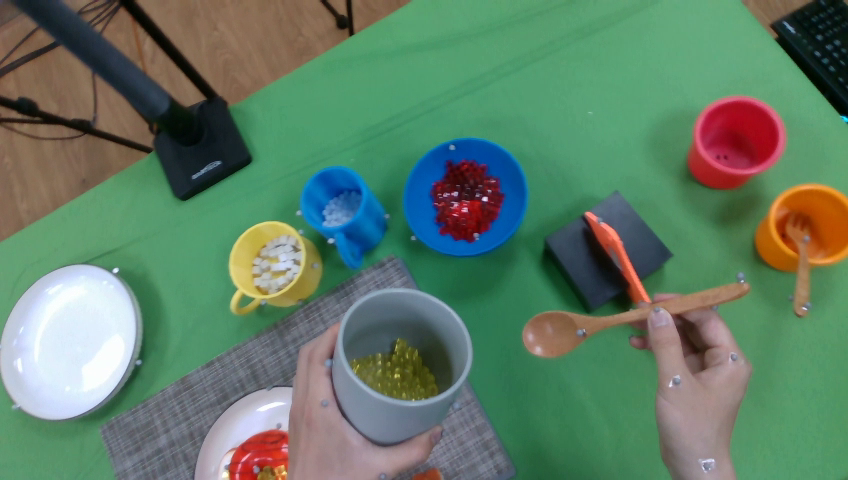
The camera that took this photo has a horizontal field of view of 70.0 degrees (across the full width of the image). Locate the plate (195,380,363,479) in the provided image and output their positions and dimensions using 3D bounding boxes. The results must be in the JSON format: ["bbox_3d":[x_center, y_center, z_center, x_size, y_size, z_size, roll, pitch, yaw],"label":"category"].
[{"bbox_3d":[-0.170,0.275,0.725,0.209,0.038,0.208,-3,75,10],"label":"plate"}]

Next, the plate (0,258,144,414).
[{"bbox_3d":[-0.471,0.129,0.821,0.207,0.039,0.206,-2,75,9],"label":"plate"}]

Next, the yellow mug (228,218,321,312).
[{"bbox_3d":[-0.201,0.040,0.781,0.099,0.064,0.131,37,86,17],"label":"yellow mug"}]

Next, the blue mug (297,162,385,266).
[{"bbox_3d":[-0.099,-0.025,0.760,0.082,0.106,0.116,-11,74,7],"label":"blue mug"}]

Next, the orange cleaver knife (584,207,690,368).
[{"bbox_3d":[0.241,0.054,0.691,0.012,0.077,0.212,-33,102,1],"label":"orange cleaver knife"}]

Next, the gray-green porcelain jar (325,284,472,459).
[{"bbox_3d":[-0.027,0.115,0.505,0.106,0.127,0.105,8,48,-9],"label":"gray-green porcelain jar"}]

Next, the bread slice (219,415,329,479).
[{"bbox_3d":[-0.182,0.280,0.730,0.131,0.019,0.104,-17,73,1],"label":"bread slice"}]

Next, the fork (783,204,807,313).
[{"bbox_3d":[0.394,0.014,0.639,0.028,0.019,0.207,32,39,10],"label":"fork"}]

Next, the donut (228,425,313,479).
[{"bbox_3d":[-0.176,0.265,0.700,0.099,0.048,0.098,-2,75,6],"label":"donut"}]

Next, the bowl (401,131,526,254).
[{"bbox_3d":[0.052,-0.048,0.753,0.151,0.077,0.150,-2,76,10],"label":"bowl"}]

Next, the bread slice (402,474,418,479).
[{"bbox_3d":[-0.001,0.303,0.642,0.018,0.135,0.106,-22,71,-5],"label":"bread slice"}]

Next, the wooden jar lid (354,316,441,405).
[{"bbox_3d":[-0.032,0.147,0.744,0.108,0.021,0.108,-2,76,9],"label":"wooden jar lid"}]

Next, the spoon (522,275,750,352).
[{"bbox_3d":[0.165,0.060,0.499,0.193,0.022,0.041,-21,79,40],"label":"spoon"}]
